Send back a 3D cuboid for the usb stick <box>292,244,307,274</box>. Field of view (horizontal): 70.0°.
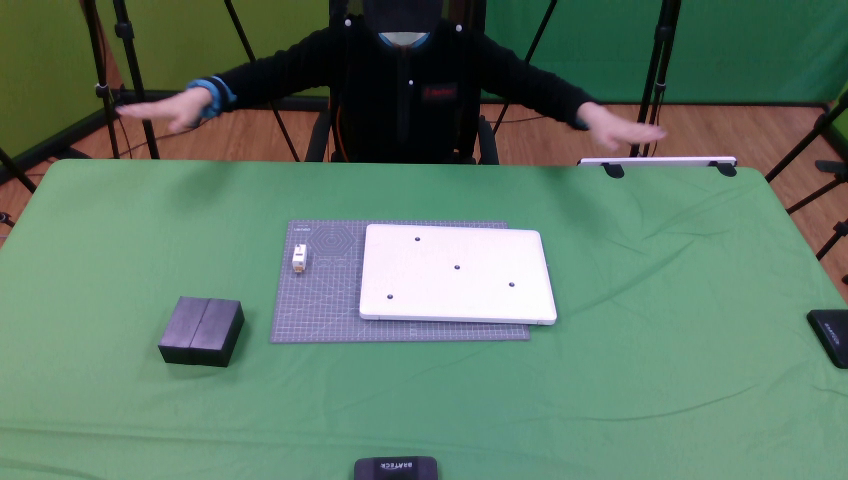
[{"bbox_3d":[-0.234,0.036,1.137,0.021,0.027,0.059,3,49,-4],"label":"usb stick"}]

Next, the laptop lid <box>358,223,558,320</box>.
[{"bbox_3d":[0.061,0.053,1.138,0.357,0.013,0.240,3,44,-2],"label":"laptop lid"}]

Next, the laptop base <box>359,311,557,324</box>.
[{"bbox_3d":[0.061,0.063,1.145,0.354,0.023,0.234,2,43,-3],"label":"laptop base"}]
